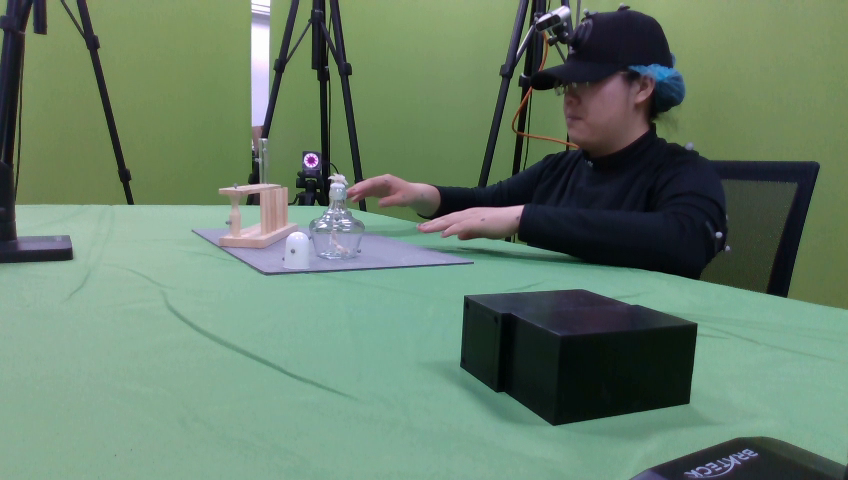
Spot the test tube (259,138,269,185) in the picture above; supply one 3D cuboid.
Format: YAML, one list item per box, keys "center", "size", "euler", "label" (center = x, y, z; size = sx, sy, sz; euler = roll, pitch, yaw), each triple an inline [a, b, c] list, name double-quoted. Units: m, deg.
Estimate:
- center: [-0.281, -0.104, 1.064]
  size: [0.017, 0.150, 0.017]
  euler: [2, 12, 0]
  label: "test tube"

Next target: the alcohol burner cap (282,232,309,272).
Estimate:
- center: [-0.157, 0.014, 0.740]
  size: [0.034, 0.048, 0.034]
  euler: [2, 6, 0]
  label: "alcohol burner cap"

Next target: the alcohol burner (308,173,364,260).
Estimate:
- center: [-0.121, -0.033, 0.841]
  size: [0.078, 0.119, 0.078]
  euler: [3, 5, 0]
  label: "alcohol burner"

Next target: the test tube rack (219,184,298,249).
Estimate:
- center: [-0.266, -0.046, 1.002]
  size: [0.067, 0.085, 0.242]
  euler: [3, 7, 0]
  label: "test tube rack"

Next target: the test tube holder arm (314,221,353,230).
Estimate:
- center: [-0.167, -0.027, 1.136]
  size: [0.015, 0.013, 0.179]
  euler: [9, 7, 11]
  label: "test tube holder arm"

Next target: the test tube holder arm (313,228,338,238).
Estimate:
- center: [-0.177, -0.016, 1.094]
  size: [0.015, 0.010, 0.088]
  euler: [9, 13, 11]
  label: "test tube holder arm"
